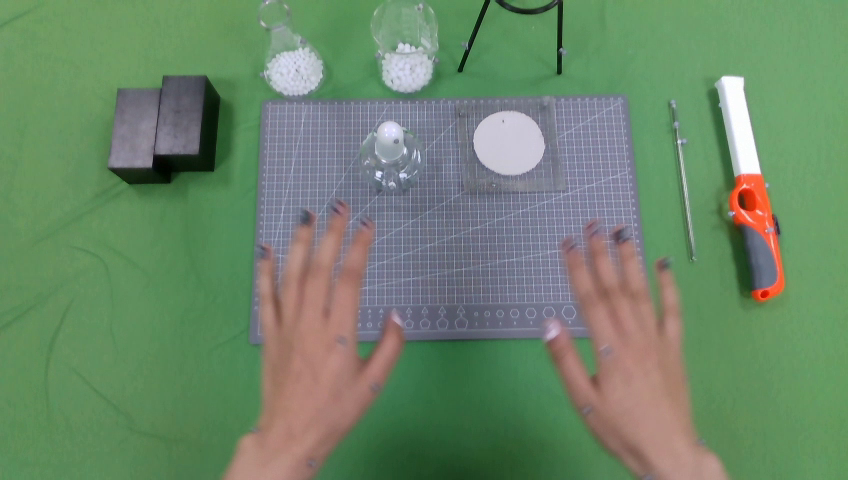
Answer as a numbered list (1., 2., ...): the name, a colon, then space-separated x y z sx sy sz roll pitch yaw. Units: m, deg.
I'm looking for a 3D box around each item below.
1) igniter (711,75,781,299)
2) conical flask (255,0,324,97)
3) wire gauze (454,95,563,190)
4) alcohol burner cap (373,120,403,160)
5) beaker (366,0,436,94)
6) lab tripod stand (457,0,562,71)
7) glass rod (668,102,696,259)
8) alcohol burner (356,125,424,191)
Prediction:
1. igniter: 0.378 -0.067 0.713 0.057 0.025 0.275 0 76 -11
2. conical flask: -0.161 -0.225 0.701 0.075 0.122 0.075 0 75 0
3. wire gauze: 0.102 -0.117 0.731 0.125 0.011 0.121 -2 76 -3
4. alcohol burner cap: -0.037 -0.108 0.636 0.034 0.048 0.033 2 75 -6
5. beaker: -0.022 -0.224 0.714 0.084 0.100 0.074 34 78 8
6. lab tripod stand: 0.106 -0.264 0.707 0.148 0.132 0.147 0 77 0
7. glass rod: 0.307 -0.074 0.723 0.008 0.008 0.198 -2 75 -1
8. alcohol burner: -0.039 -0.098 0.670 0.078 0.119 0.077 0 77 -1
